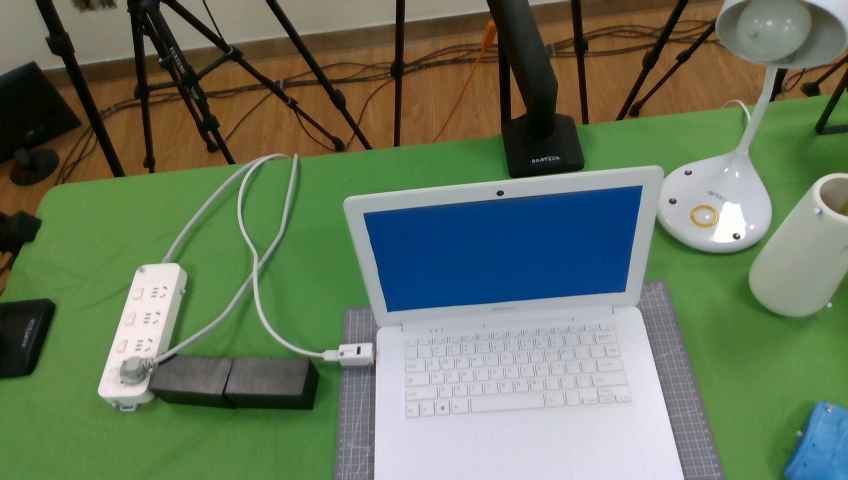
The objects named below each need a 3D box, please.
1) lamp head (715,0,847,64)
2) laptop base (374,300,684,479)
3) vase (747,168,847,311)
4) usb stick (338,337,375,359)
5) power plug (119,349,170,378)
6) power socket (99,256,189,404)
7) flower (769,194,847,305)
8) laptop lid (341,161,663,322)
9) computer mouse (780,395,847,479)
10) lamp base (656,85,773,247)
[{"bbox_3d":[0.343,-0.239,0.556,0.112,0.113,0.122,21,78,21],"label":"lamp head"},{"bbox_3d":[0.113,0.194,0.753,0.354,0.023,0.233,-5,59,4],"label":"laptop base"},{"bbox_3d":[0.463,0.003,0.728,0.098,0.202,0.097,-5,54,7],"label":"vase"},{"bbox_3d":[-0.082,0.143,0.797,0.059,0.027,0.021,-1,53,2],"label":"usb stick"},{"bbox_3d":[-0.367,0.168,0.801,0.072,0.053,0.035,6,57,9],"label":"power plug"},{"bbox_3d":[-0.394,0.119,0.862,0.072,0.033,0.224,-3,55,5],"label":"power socket"},{"bbox_3d":[0.470,-0.052,0.664,0.038,0.364,0.043,-7,44,-18],"label":"flower"},{"bbox_3d":[0.095,0.014,0.735,0.356,0.244,0.013,-7,45,5],"label":"laptop lid"},{"bbox_3d":[0.451,0.225,0.674,0.062,0.041,0.117,32,60,29],"label":"computer mouse"},{"bbox_3d":[0.415,-0.110,0.824,0.159,0.182,0.178,24,59,22],"label":"lamp base"}]
